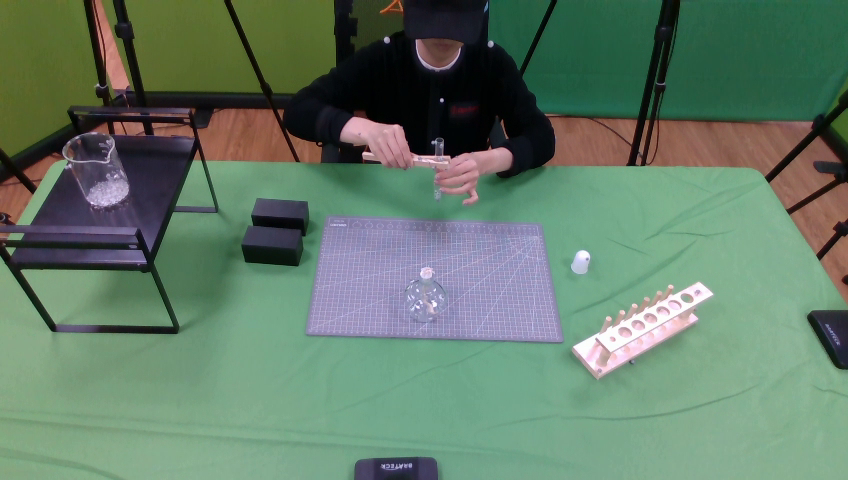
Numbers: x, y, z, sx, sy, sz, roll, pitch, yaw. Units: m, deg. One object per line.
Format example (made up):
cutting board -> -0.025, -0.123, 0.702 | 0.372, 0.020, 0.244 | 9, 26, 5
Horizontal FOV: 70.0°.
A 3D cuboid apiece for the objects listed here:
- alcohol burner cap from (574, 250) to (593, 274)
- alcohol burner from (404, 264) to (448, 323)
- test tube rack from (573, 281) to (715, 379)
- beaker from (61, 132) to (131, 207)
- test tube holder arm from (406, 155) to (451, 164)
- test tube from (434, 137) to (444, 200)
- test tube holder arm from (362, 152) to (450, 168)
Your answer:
alcohol burner cap -> 0.308, 0.039, 1.163 | 0.034, 0.048, 0.033 | 1, 46, -1
alcohol burner -> 0.003, 0.087, 1.042 | 0.078, 0.120, 0.077 | 1, 45, 0
test tube rack -> 0.378, 0.140, 1.038 | 0.242, 0.085, 0.066 | -22, 51, -23
beaker -> -0.512, -0.107, 0.959 | 0.083, 0.101, 0.074 | 29, 51, 22
test tube holder arm -> 0.008, -0.151, 1.140 | 0.088, 0.015, 0.010 | 2, 41, 14
test tube -> 0.028, -0.132, 1.145 | 0.017, 0.151, 0.017 | 0, 48, 0
test tube holder arm -> -0.036, -0.152, 1.149 | 0.178, 0.015, 0.013 | 7, 42, 19
